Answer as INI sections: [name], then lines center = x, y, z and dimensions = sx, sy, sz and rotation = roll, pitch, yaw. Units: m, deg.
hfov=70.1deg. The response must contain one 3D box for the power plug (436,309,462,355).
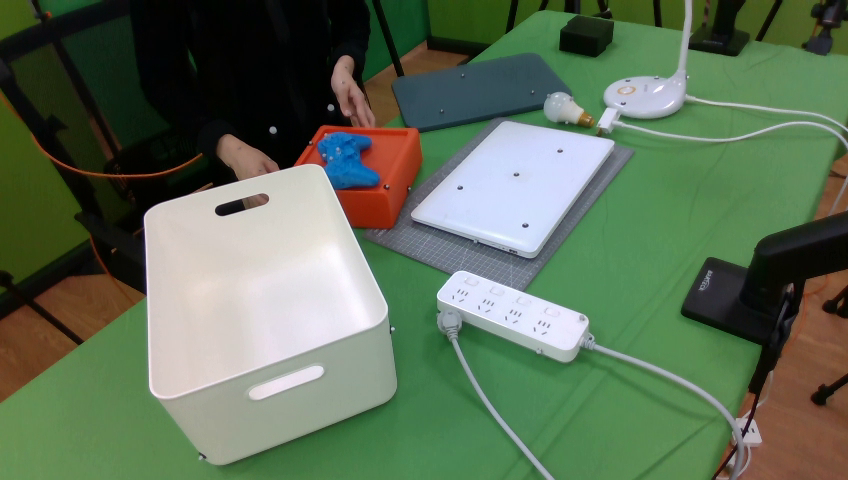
[power plug]
center = 0.032, 0.126, 0.810
dimensions = 0.035, 0.053, 0.072
rotation = 3, 59, 7

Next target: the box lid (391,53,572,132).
[box lid]
center = 0.122, -0.339, 1.366
dimensions = 0.372, 0.015, 0.261
rotation = -12, 40, -5

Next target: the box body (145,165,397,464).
[box body]
center = -0.205, 0.080, 0.802
dimensions = 0.255, 0.161, 0.361
rotation = -18, 41, -13

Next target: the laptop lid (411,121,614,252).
[laptop lid]
center = 0.164, -0.112, 1.068
dimensions = 0.240, 0.013, 0.357
rotation = 19, 46, 30

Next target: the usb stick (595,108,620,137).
[usb stick]
center = 0.355, -0.226, 1.175
dimensions = 0.027, 0.022, 0.059
rotation = 29, 85, 41

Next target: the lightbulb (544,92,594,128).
[lightbulb]
center = 0.293, -0.256, 1.215
dimensions = 0.107, 0.059, 0.059
rotation = 30, 51, 16

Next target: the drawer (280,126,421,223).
[drawer]
center = -0.125, -0.124, 1.091
dimensions = 0.194, 0.073, 0.211
rotation = 5, 41, 13

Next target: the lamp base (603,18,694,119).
[lamp base]
center = 0.460, -0.355, 1.205
dimensions = 0.179, 0.181, 0.160
rotation = 2, 41, 7

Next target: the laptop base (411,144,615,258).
[laptop base]
center = 0.167, -0.102, 1.074
dimensions = 0.234, 0.023, 0.355
rotation = 16, 45, 30

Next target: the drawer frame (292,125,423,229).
[drawer frame]
center = -0.124, -0.120, 1.087
dimensions = 0.201, 0.083, 0.213
rotation = 4, 41, 14

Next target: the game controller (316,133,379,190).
[game controller]
center = -0.134, -0.140, 1.033
dimensions = 0.097, 0.052, 0.154
rotation = -14, 39, -1

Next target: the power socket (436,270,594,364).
[power socket]
center = 0.118, 0.102, 0.830
dimensions = 0.225, 0.033, 0.072
rotation = 20, 48, 28
